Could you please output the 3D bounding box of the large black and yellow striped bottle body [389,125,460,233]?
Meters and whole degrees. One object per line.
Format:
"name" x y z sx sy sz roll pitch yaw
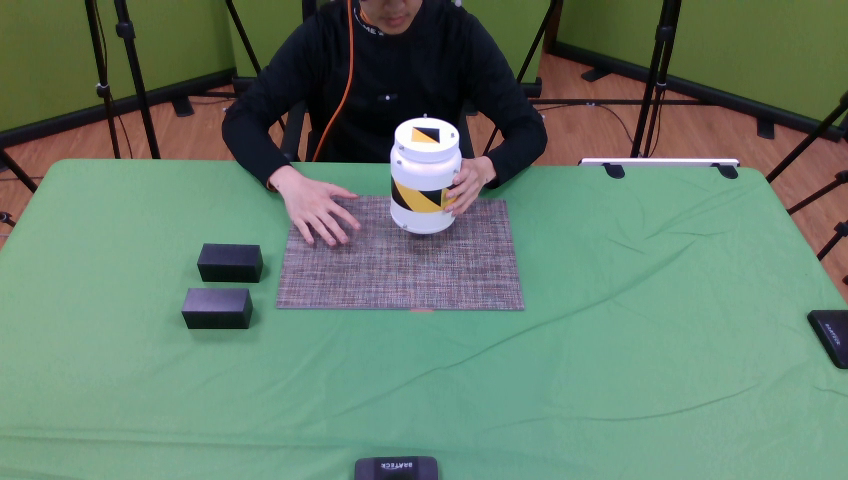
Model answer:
"large black and yellow striped bottle body" 0.000 -0.120 1.131 0.131 0.185 0.130 2 41 -1

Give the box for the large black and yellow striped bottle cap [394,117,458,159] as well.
"large black and yellow striped bottle cap" 0.004 -0.182 1.075 0.115 0.019 0.114 0 42 0
